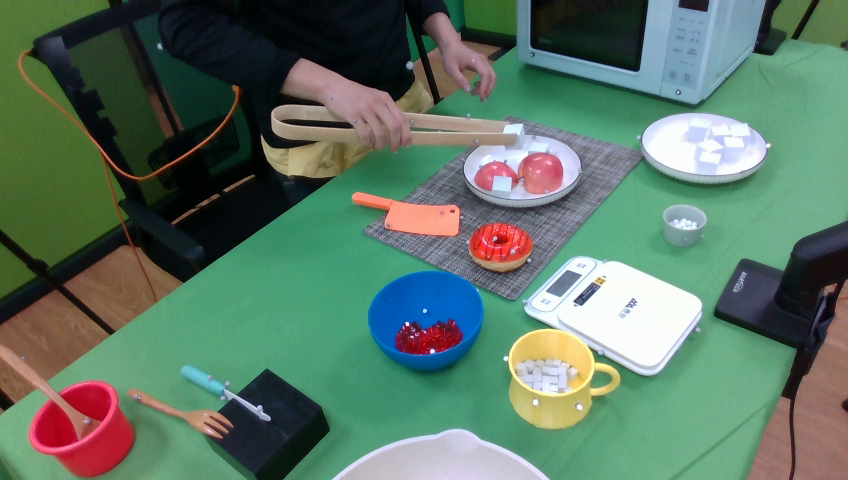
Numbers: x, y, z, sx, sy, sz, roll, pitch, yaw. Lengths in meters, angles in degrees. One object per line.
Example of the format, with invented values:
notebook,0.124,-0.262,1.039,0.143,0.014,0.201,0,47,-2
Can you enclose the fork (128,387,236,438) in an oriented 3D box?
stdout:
fork,-0.305,0.207,0.744,0.206,0.019,0.028,3,42,36

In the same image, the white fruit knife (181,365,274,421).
white fruit knife,-0.245,0.187,0.747,0.205,0.027,0.016,9,41,40

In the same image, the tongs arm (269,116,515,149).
tongs arm,-0.043,-0.165,0.947,0.389,0.028,0.028,1,49,-12

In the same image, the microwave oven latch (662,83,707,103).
microwave oven latch,0.517,-0.296,1.204,0.078,0.029,0.030,27,52,35

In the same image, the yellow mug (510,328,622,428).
yellow mug,0.169,0.164,0.721,0.130,0.064,0.099,0,40,8

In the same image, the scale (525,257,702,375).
scale,0.254,0.091,0.821,0.199,0.032,0.149,27,51,35

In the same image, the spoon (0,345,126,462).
spoon,-0.434,0.192,0.720,0.194,0.021,0.042,47,53,-7

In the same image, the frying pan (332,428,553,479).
frying pan,-0.089,0.306,0.564,0.487,0.103,0.306,10,41,7

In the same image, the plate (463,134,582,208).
plate,0.173,-0.119,1.070,0.209,0.038,0.208,-4,40,4

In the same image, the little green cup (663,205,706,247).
little green cup,0.396,-0.021,0.926,0.061,0.039,0.061,-4,40,4

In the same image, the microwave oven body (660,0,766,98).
microwave oven body,0.472,-0.513,1.317,0.438,0.261,0.327,26,51,34

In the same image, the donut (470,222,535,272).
donut,0.119,0.009,0.923,0.099,0.048,0.098,-3,39,3

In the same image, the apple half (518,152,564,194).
apple half,0.204,-0.124,1.048,0.075,0.053,0.080,-6,41,-2

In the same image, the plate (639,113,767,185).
plate,0.489,-0.157,1.074,0.207,0.039,0.206,-4,40,4

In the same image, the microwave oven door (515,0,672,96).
microwave oven door,0.343,-0.454,1.259,0.353,0.245,0.039,26,51,33

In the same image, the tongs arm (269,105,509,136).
tongs arm,-0.047,-0.183,0.965,0.386,0.026,0.050,4,45,-10

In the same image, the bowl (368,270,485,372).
bowl,0.007,0.118,0.791,0.151,0.077,0.150,-4,40,4

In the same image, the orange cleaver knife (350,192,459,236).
orange cleaver knife,-0.036,-0.044,1.028,0.210,0.012,0.077,10,49,17

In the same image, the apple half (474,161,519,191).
apple half,0.131,-0.120,1.067,0.081,0.033,0.081,-3,35,3
